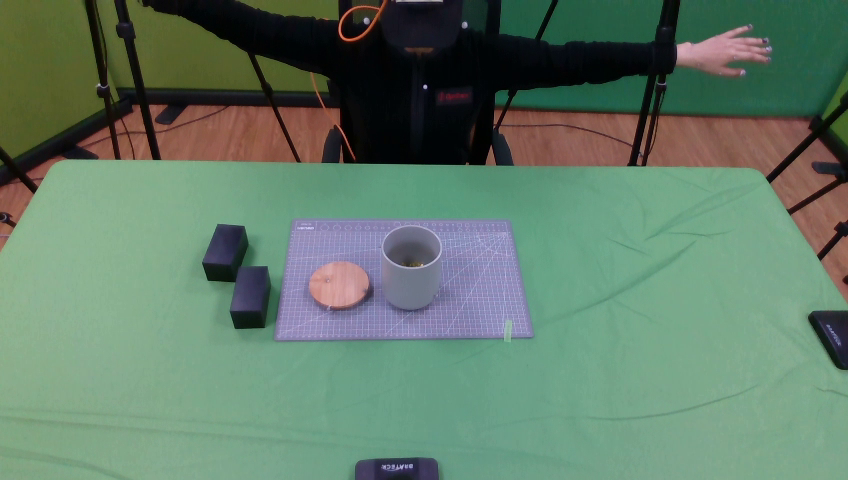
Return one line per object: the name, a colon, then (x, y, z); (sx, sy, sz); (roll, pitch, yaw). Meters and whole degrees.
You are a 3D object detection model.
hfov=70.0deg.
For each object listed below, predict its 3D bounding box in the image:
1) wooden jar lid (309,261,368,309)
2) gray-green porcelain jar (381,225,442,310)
wooden jar lid: (-0.155, 0.084, 1.104); (0.108, 0.021, 0.107); (3, 47, -3)
gray-green porcelain jar: (-0.023, 0.053, 1.068); (0.106, 0.127, 0.105); (2, 46, -2)
